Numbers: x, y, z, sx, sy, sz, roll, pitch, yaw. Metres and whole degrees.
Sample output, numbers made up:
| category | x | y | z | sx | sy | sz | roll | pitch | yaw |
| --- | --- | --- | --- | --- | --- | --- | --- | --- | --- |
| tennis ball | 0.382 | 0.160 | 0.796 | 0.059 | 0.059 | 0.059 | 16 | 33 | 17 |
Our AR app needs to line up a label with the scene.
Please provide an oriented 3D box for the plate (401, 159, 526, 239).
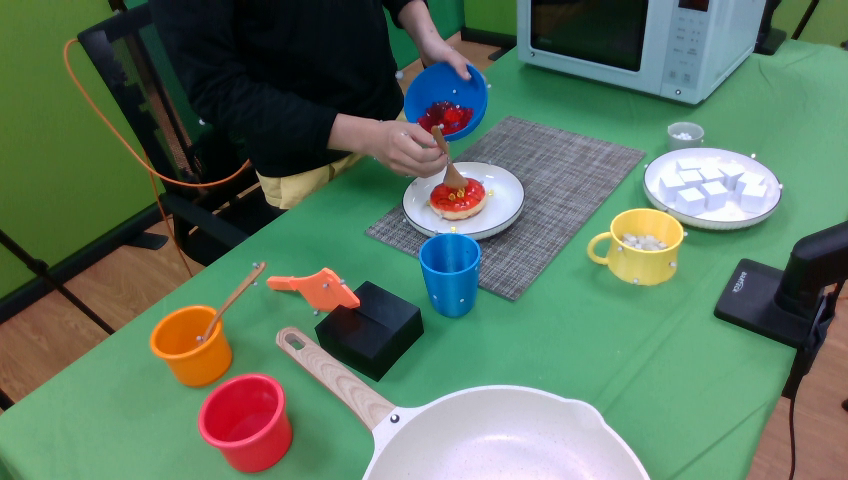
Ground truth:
| category | x | y | z | sx | sy | sz | roll | pitch | yaw |
| --- | --- | --- | --- | --- | --- | --- | --- | --- | --- |
| plate | 0.067 | -0.065 | 1.019 | 0.209 | 0.038 | 0.208 | -4 | 40 | 4 |

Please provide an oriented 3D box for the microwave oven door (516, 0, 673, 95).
| category | x | y | z | sx | sy | sz | roll | pitch | yaw |
| --- | --- | --- | --- | --- | --- | --- | --- | --- | --- |
| microwave oven door | 0.344 | -0.458 | 1.256 | 0.353 | 0.245 | 0.039 | 26 | 51 | 33 |

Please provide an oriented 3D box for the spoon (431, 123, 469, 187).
| category | x | y | z | sx | sy | sz | roll | pitch | yaw |
| --- | --- | --- | --- | --- | --- | --- | --- | --- | --- |
| spoon | 0.034 | -0.123 | 0.904 | 0.041 | 0.195 | 0.021 | 1 | 67 | 15 |

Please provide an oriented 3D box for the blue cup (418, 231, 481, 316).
| category | x | y | z | sx | sy | sz | roll | pitch | yaw |
| --- | --- | --- | --- | --- | --- | --- | --- | --- | --- |
| blue cup | 0.040 | 0.053 | 0.843 | 0.092 | 0.100 | 0.092 | -4 | 43 | 4 |

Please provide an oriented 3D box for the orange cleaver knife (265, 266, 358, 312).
| category | x | y | z | sx | sy | sz | roll | pitch | yaw |
| --- | --- | --- | --- | --- | --- | --- | --- | --- | --- |
| orange cleaver knife | -0.164 | 0.073 | 0.864 | 0.210 | 0.077 | 0.012 | -6 | 30 | 50 |

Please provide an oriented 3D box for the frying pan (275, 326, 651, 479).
| category | x | y | z | sx | sy | sz | roll | pitch | yaw |
| --- | --- | --- | --- | --- | --- | --- | --- | --- | --- |
| frying pan | 0.004 | 0.229 | 0.641 | 0.484 | 0.103 | 0.308 | 34 | 54 | 28 |

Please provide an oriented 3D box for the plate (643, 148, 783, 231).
| category | x | y | z | sx | sy | sz | roll | pitch | yaw |
| --- | --- | --- | --- | --- | --- | --- | --- | --- | --- |
| plate | 0.464 | -0.080 | 0.986 | 0.207 | 0.039 | 0.206 | -4 | 41 | 4 |

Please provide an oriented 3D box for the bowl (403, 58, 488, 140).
| category | x | y | z | sx | sy | sz | roll | pitch | yaw |
| --- | --- | --- | --- | --- | --- | --- | --- | --- | --- |
| bowl | 0.045 | -0.234 | 1.067 | 0.151 | 0.077 | 0.151 | -5 | 70 | 15 |

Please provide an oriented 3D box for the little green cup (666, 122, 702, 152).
| category | x | y | z | sx | sy | sz | roll | pitch | yaw |
| --- | --- | --- | --- | --- | --- | --- | --- | --- | --- |
| little green cup | 0.471 | -0.184 | 1.102 | 0.061 | 0.039 | 0.061 | -5 | 41 | 5 |

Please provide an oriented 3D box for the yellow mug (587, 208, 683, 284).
| category | x | y | z | sx | sy | sz | roll | pitch | yaw |
| --- | --- | --- | --- | --- | --- | --- | --- | --- | --- |
| yellow mug | 0.305 | 0.009 | 0.884 | 0.131 | 0.064 | 0.099 | -4 | 41 | 5 |

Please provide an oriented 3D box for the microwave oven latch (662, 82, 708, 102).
| category | x | y | z | sx | sy | sz | roll | pitch | yaw |
| --- | --- | --- | --- | --- | --- | --- | --- | --- | --- |
| microwave oven latch | 0.518 | -0.298 | 1.203 | 0.078 | 0.029 | 0.030 | 28 | 53 | 35 |

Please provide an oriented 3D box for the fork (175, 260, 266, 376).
| category | x | y | z | sx | sy | sz | roll | pitch | yaw |
| --- | --- | --- | --- | --- | --- | --- | --- | --- | --- |
| fork | -0.268 | 0.103 | 0.792 | 0.207 | 0.019 | 0.028 | -51 | 41 | 16 |

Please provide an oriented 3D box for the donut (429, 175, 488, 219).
| category | x | y | z | sx | sy | sz | roll | pitch | yaw |
| --- | --- | --- | --- | --- | --- | --- | --- | --- | --- |
| donut | 0.058 | -0.075 | 1.015 | 0.099 | 0.048 | 0.098 | -6 | 38 | 5 |

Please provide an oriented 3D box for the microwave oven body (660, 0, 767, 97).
| category | x | y | z | sx | sy | sz | roll | pitch | yaw |
| --- | --- | --- | --- | --- | --- | --- | --- | --- | --- |
| microwave oven body | 0.473 | -0.516 | 1.313 | 0.438 | 0.261 | 0.327 | 26 | 51 | 34 |
